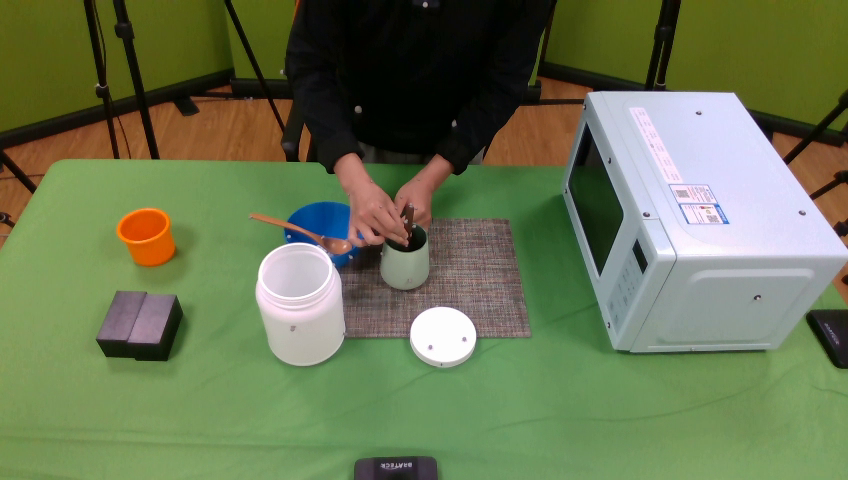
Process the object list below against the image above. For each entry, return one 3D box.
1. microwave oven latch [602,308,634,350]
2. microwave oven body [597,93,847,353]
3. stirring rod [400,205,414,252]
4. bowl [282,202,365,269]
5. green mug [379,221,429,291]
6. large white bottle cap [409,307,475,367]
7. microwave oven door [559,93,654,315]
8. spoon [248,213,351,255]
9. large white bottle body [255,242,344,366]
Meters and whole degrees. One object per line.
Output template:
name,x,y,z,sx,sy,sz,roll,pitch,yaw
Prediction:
microwave oven latch,0.332,0.153,1.044,0.030,0.029,0.078,-1,45,-4
microwave oven body,0.475,-0.041,1.110,0.326,0.261,0.438,-1,45,-4
stirring rod,-0.033,0.005,1.070,0.014,0.177,0.006,20,46,10
bowl,-0.186,0.006,1.136,0.151,0.077,0.150,3,46,-3
green mug,-0.044,0.020,1.116,0.092,0.105,0.124,-20,50,-22
large white bottle cap,0.031,0.165,1.041,0.115,0.018,0.114,2,47,-2
microwave oven door,0.327,-0.074,1.123,0.039,0.245,0.353,-1,46,-5
spoon,-0.228,-0.015,1.113,0.194,0.022,0.041,23,40,-15
large white bottle body,-0.196,0.102,0.967,0.131,0.185,0.130,2,49,-2
